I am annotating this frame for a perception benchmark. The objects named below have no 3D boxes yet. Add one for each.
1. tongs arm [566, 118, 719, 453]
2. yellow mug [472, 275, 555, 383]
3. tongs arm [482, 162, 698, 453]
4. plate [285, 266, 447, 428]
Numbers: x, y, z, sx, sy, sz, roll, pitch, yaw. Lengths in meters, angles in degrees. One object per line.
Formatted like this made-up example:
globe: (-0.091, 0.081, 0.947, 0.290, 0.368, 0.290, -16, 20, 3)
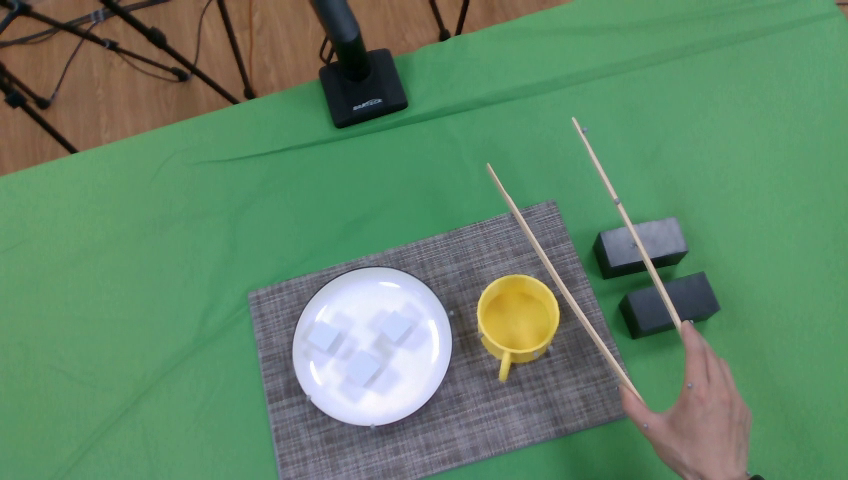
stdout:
tongs arm: (0.223, 0.036, 0.662, 0.051, 0.027, 0.382, -25, 72, 5)
yellow mug: (0.107, 0.115, 0.757, 0.100, 0.064, 0.130, 13, 71, 9)
tongs arm: (0.168, 0.064, 0.669, 0.028, 0.028, 0.384, -31, 71, -1)
plate: (-0.073, 0.136, 0.782, 0.207, 0.039, 0.206, -2, 69, 5)
